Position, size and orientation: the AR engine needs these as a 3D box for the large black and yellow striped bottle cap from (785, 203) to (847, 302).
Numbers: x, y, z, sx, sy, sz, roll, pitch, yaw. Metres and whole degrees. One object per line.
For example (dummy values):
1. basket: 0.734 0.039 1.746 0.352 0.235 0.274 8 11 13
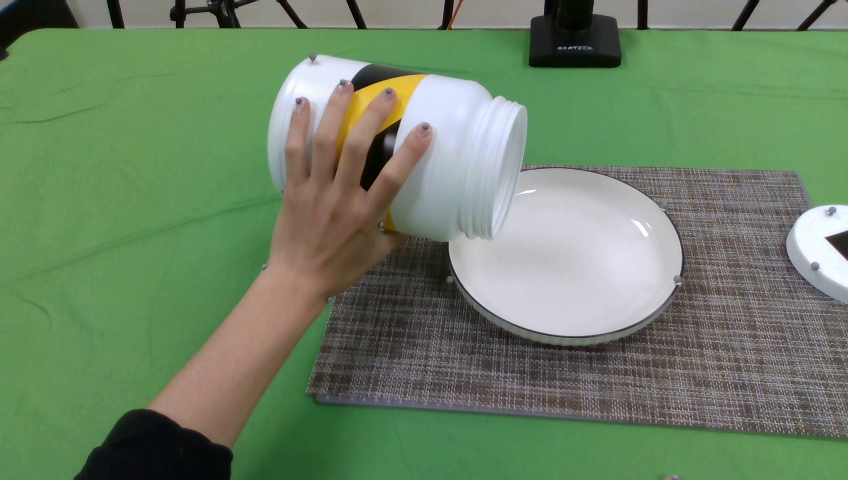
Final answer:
1. large black and yellow striped bottle cap: 0.390 0.011 0.546 0.115 0.019 0.114 0 48 0

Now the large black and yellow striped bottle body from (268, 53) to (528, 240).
1. large black and yellow striped bottle body: -0.017 -0.074 0.498 0.183 0.132 0.130 14 50 14

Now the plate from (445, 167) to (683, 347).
1. plate: 0.124 0.014 0.552 0.207 0.039 0.205 -2 47 3
